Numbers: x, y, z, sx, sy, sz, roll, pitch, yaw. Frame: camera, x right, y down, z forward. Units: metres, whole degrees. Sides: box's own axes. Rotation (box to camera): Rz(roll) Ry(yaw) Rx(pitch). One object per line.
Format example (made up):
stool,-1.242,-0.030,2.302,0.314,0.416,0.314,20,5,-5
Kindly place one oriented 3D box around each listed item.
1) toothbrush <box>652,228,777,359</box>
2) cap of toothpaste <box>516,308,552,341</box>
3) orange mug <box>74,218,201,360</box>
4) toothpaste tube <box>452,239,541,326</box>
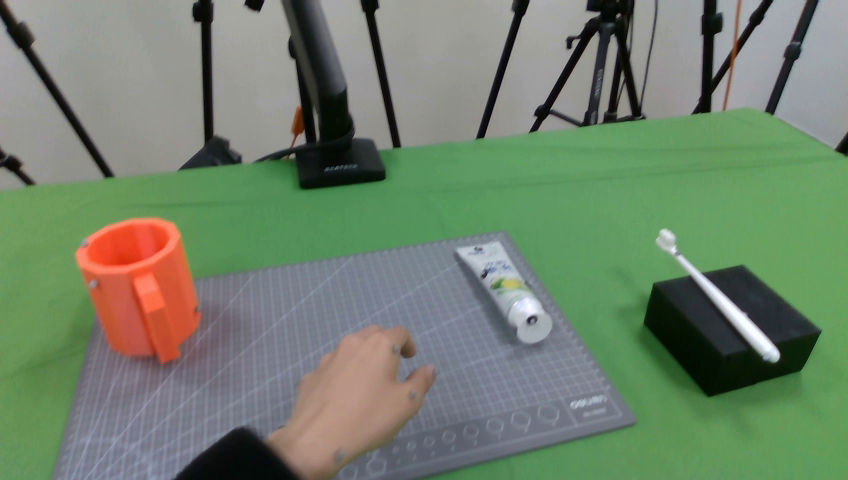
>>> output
toothbrush,0.259,0.042,0.553,0.014,0.017,0.180,-3,34,-12
cap of toothpaste,0.101,0.077,0.562,0.037,0.037,0.011,-10,32,-14
orange mug,-0.254,0.049,0.552,0.083,0.101,0.125,-21,35,-27
toothpaste tube,0.081,0.040,0.628,0.055,0.035,0.163,-4,30,-17
